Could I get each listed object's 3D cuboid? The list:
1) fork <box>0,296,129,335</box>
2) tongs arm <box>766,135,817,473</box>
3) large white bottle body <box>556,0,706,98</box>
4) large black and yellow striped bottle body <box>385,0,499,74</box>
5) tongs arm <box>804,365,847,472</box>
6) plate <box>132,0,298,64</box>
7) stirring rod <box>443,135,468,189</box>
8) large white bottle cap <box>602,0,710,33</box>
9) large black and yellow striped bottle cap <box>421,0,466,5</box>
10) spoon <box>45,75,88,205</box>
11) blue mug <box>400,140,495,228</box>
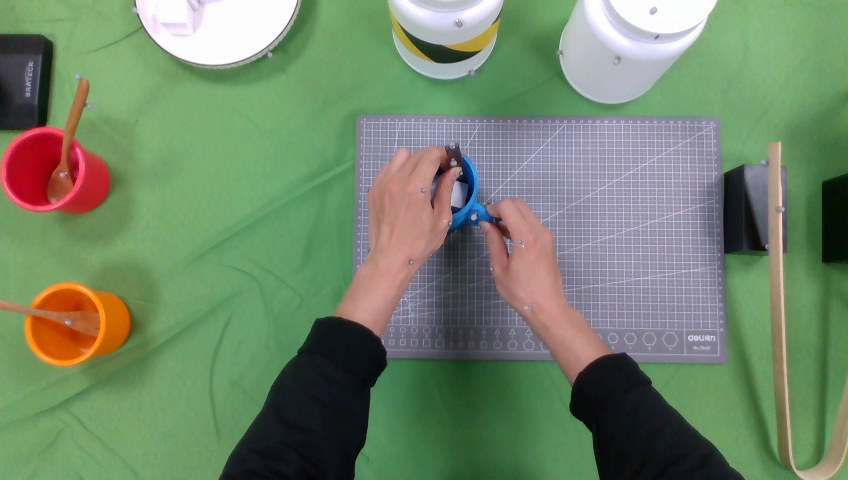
[{"bbox_3d":[-0.434,0.073,0.667,0.209,0.018,0.028,23,84,-41],"label":"fork"},{"bbox_3d":[0.412,0.075,0.679,0.051,0.026,0.385,-4,97,-2],"label":"tongs arm"},{"bbox_3d":[0.227,-0.248,0.670,0.130,0.185,0.130,0,84,1],"label":"large white bottle body"},{"bbox_3d":[0.021,-0.278,0.675,0.131,0.184,0.130,0,84,1],"label":"large black and yellow striped bottle body"},{"bbox_3d":[0.494,0.077,0.681,0.028,0.027,0.388,9,97,-7],"label":"tongs arm"},{"bbox_3d":[-0.255,-0.317,0.755,0.208,0.039,0.207,0,85,1],"label":"plate"},{"bbox_3d":[0.035,-0.079,0.641,0.014,0.177,0.006,-22,79,4],"label":"stirring rod"},{"bbox_3d":[0.225,-0.258,0.586,0.115,0.018,0.114,0,84,0],"label":"large white bottle cap"},{"bbox_3d":[0.019,-0.289,0.592,0.115,0.019,0.115,0,86,0],"label":"large black and yellow striped bottle cap"},{"bbox_3d":[-0.403,-0.108,0.685,0.041,0.021,0.194,47,130,7],"label":"spoon"},{"bbox_3d":[0.031,-0.052,0.692,0.116,0.106,0.082,32,86,3],"label":"blue mug"}]
